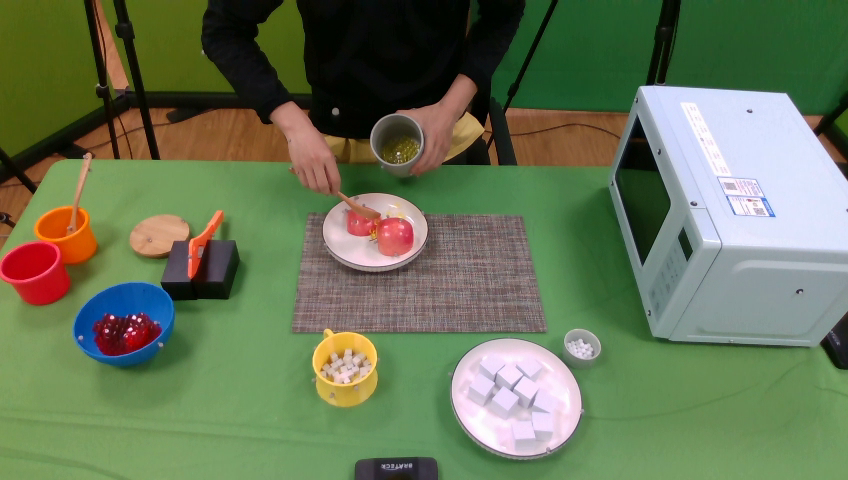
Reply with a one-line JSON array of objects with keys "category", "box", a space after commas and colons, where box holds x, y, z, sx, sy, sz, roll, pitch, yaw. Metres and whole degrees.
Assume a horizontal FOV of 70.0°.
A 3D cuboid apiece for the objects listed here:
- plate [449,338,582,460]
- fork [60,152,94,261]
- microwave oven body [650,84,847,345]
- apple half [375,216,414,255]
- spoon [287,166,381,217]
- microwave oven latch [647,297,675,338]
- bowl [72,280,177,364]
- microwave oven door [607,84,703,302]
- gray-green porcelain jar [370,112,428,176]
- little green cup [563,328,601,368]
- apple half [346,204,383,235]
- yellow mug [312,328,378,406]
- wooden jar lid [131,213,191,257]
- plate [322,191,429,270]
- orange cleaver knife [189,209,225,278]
[{"category": "plate", "box": [0.141, 0.251, 0.956, 0.208, 0.039, 0.206, 2, 46, -2]}, {"category": "fork", "box": [-0.638, -0.063, 1.119, 0.028, 0.018, 0.207, 12, 90, 8]}, {"category": "microwave oven body", "box": [0.569, -0.054, 1.116, 0.326, 0.261, 0.439, 2, 46, -1]}, {"category": "apple half", "box": [-0.056, -0.017, 1.169, 0.075, 0.053, 0.080, 0, 46, -7]}, {"category": "spoon", "box": [-0.167, -0.090, 1.133, 0.194, 0.041, 0.021, 32, 72, -15]}, {"category": "microwave oven latch", "box": [0.413, 0.133, 1.060, 0.030, 0.029, 0.078, 5, 46, 2]}, {"category": "bowl", "box": [-0.473, 0.147, 0.982, 0.151, 0.077, 0.150, 2, 46, -2]}, {"category": "microwave oven door", "box": [0.424, -0.096, 1.138, 0.039, 0.245, 0.353, 3, 46, -1]}, {"category": "gray-green porcelain jar", "box": [-0.047, -0.190, 1.224, 0.106, 0.126, 0.105, 0, 85, 4]}, {"category": "little green cup", "box": [0.265, 0.184, 1.025, 0.061, 0.039, 0.061, 1, 46, -1]}, {"category": "apple half", "box": [-0.119, -0.049, 1.207, 0.081, 0.033, 0.081, 2, 50, -2]}, {"category": "yellow mug", "box": [-0.132, 0.193, 0.971, 0.100, 0.064, 0.130, -22, 51, -22]}, {"category": "wooden jar lid", "box": [-0.504, -0.008, 1.167, 0.108, 0.021, 0.107, 3, 46, -3]}, {"category": "plate", "box": [-0.094, -0.015, 1.185, 0.209, 0.038, 0.208, 2, 46, -2]}, {"category": "orange cleaver knife", "box": [-0.401, 0.002, 1.122, 0.012, 0.077, 0.210, 3, 22, -4]}]
